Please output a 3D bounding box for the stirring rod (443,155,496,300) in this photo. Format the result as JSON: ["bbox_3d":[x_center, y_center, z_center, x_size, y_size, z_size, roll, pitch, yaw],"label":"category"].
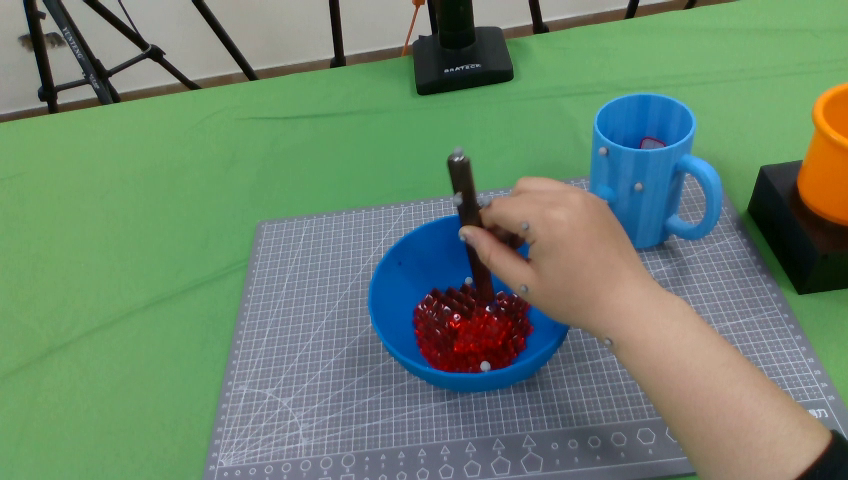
[{"bbox_3d":[0.033,0.000,0.406,0.014,0.178,0.006,6,60,16],"label":"stirring rod"}]

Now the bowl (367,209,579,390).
[{"bbox_3d":[0.038,0.056,0.455,0.151,0.077,0.150,-5,47,6],"label":"bowl"}]

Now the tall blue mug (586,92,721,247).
[{"bbox_3d":[0.193,-0.054,0.506,0.106,0.109,0.077,14,51,22],"label":"tall blue mug"}]
